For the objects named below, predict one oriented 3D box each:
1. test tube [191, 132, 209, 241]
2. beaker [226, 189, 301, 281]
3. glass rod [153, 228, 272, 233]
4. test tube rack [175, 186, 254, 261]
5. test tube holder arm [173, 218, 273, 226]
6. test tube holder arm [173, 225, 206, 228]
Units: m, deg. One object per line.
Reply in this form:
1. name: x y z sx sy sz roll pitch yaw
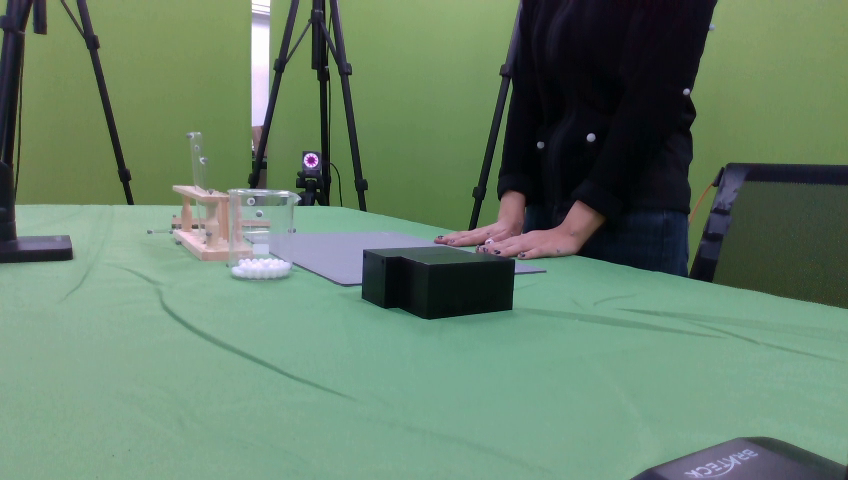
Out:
1. test tube: -0.308 -0.074 0.840 0.017 0.150 0.017 -4 6 1
2. beaker: -0.184 -0.007 0.694 0.084 0.100 0.073 -1 8 -29
3. glass rod: -0.368 -0.017 1.065 0.201 0.008 0.008 -2 8 -27
4. test tube rack: -0.314 -0.030 0.889 0.067 0.085 0.241 -2 8 -30
5. test tube holder arm: -0.371 -0.033 1.128 0.179 0.015 0.013 -1 -22 -26
6. test tube holder arm: -0.414 -0.030 1.113 0.088 0.015 0.010 -1 -22 -25
